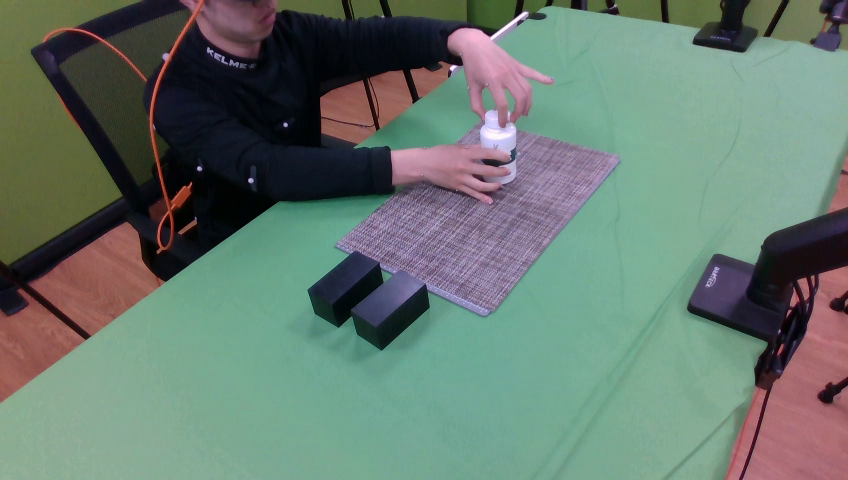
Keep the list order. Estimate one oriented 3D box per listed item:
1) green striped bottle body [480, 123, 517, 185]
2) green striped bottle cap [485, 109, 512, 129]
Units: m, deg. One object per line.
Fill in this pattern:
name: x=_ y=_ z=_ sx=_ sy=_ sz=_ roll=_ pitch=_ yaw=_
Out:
green striped bottle body: x=0.130 y=-0.162 z=1.057 sx=0.063 sy=0.120 sz=0.063 roll=-4 pitch=40 yaw=4
green striped bottle cap: x=0.125 y=-0.204 z=1.021 sx=0.044 sy=0.020 sz=0.044 roll=-7 pitch=37 yaw=5
